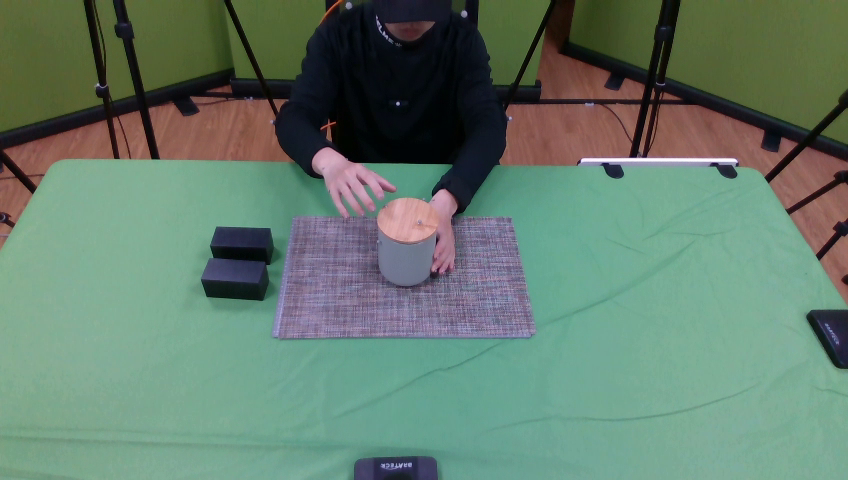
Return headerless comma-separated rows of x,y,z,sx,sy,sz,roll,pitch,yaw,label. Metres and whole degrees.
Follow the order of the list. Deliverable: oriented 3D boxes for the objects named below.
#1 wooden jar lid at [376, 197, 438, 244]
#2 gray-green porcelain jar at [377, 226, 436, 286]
-0.029,-0.031,1.060,0.108,0.021,0.107,2,47,-2,wooden jar lid
-0.033,0.014,1.105,0.106,0.127,0.105,2,46,-2,gray-green porcelain jar
